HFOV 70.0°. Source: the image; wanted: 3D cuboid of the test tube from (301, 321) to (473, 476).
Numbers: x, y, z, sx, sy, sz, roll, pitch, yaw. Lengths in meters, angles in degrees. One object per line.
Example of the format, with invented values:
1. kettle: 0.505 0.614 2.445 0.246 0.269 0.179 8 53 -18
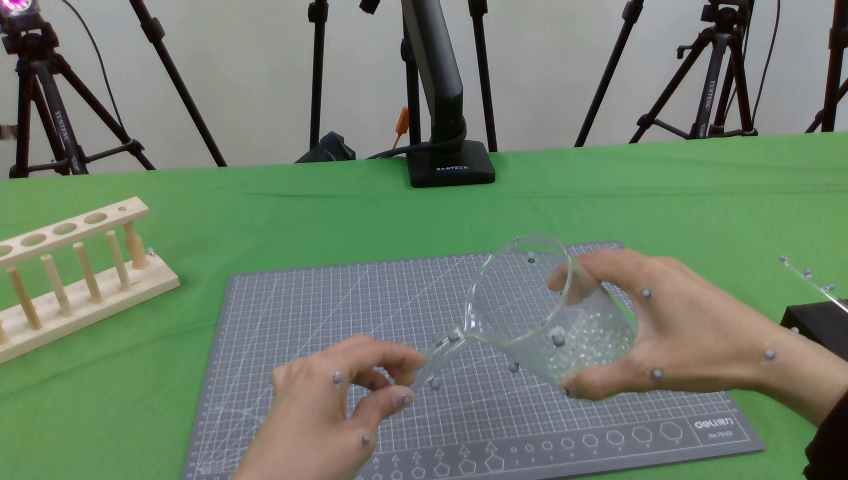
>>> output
1. test tube: -0.026 0.103 0.381 0.150 0.017 0.017 -44 32 16

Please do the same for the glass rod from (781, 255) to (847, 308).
1. glass rod: 0.381 0.068 0.516 0.008 0.008 0.197 -10 35 -13

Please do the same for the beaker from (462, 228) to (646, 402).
1. beaker: 0.083 0.053 0.375 0.084 0.101 0.073 -41 35 17

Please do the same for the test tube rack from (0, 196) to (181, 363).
1. test tube rack: -0.375 0.046 0.587 0.242 0.086 0.066 -27 42 -33
